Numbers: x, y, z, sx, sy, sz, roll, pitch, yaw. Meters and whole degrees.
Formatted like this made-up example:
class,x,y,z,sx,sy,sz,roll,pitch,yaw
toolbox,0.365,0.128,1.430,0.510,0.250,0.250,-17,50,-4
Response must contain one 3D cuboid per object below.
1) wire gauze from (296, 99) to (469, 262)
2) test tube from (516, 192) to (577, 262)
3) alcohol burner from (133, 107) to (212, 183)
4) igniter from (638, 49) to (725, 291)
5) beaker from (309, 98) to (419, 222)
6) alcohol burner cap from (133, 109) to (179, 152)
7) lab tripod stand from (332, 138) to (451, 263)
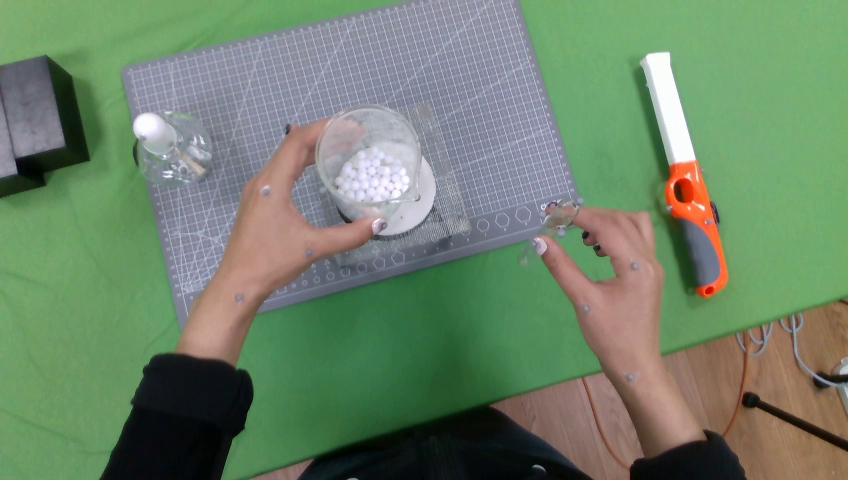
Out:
class,x,y,z,sx,sy,sz,roll,pitch,yaw
wire gauze,-0.036,-0.054,0.530,0.125,0.011,0.121,-17,82,-6
test tube,0.095,-0.006,0.490,0.017,0.151,0.017,1,74,-3
alcohol burner,-0.255,-0.099,0.599,0.078,0.119,0.077,0,80,-2
igniter,0.288,-0.081,0.678,0.057,0.025,0.275,-10,83,-14
beaker,-0.040,-0.054,0.468,0.084,0.100,0.074,41,82,3
alcohol burner cap,-0.251,-0.104,0.564,0.034,0.048,0.034,1,83,-7
lab tripod stand,-0.041,-0.041,0.596,0.148,0.132,0.148,0,82,-1
